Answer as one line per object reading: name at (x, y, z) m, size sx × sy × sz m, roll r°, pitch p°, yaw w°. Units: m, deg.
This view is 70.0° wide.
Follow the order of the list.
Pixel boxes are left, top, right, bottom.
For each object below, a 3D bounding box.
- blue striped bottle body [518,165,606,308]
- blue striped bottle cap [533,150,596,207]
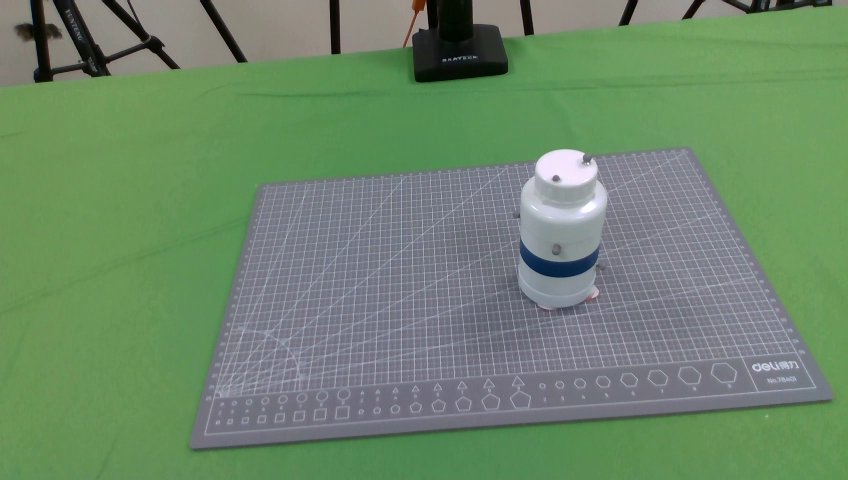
blue striped bottle body at (0.105, -0.008, 0.468) m, size 0.063 × 0.122 × 0.062 m, roll -3°, pitch 44°, yaw 3°
blue striped bottle cap at (0.100, -0.045, 0.432) m, size 0.044 × 0.021 × 0.044 m, roll -2°, pitch 44°, yaw 3°
